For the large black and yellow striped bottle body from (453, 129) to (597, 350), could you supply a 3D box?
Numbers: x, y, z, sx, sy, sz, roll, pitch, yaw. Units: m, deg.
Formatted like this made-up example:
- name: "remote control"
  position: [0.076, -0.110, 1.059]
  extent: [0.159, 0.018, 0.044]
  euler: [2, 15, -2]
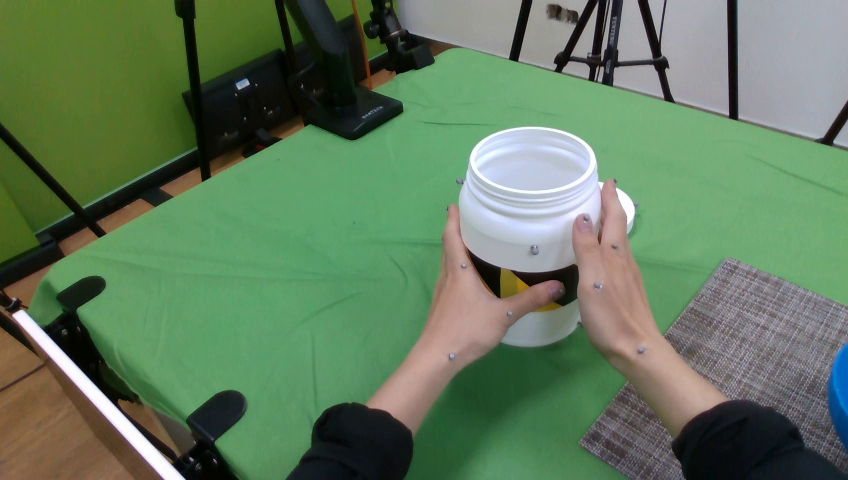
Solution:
- name: "large black and yellow striped bottle body"
  position: [0.094, 0.000, 0.581]
  extent: [0.131, 0.186, 0.129]
  euler: [-3, 40, 3]

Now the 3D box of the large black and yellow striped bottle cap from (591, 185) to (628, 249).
- name: "large black and yellow striped bottle cap"
  position: [0.190, -0.032, 0.742]
  extent: [0.115, 0.019, 0.114]
  euler: [-2, 40, 2]

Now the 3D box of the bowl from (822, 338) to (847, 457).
- name: "bowl"
  position: [0.373, 0.146, 0.452]
  extent: [0.151, 0.077, 0.150]
  euler: [-3, 40, 3]
